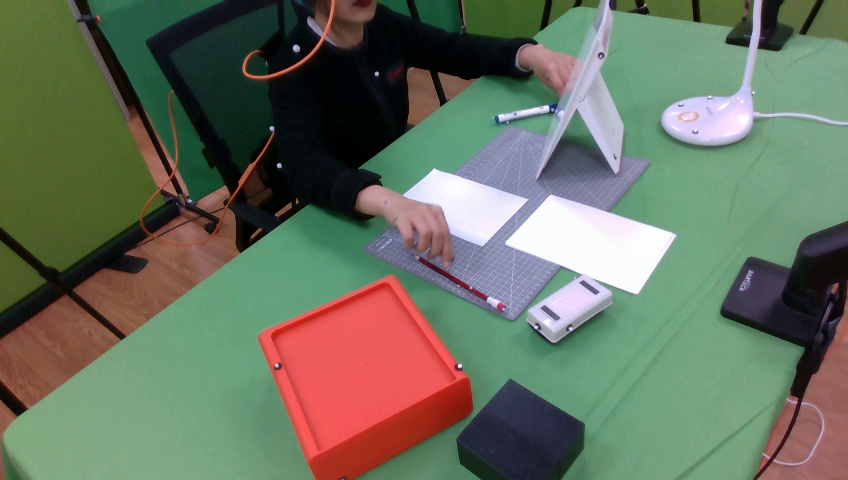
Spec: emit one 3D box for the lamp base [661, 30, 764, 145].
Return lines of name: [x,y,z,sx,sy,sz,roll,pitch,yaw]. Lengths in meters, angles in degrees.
lamp base: [0.535,-0.287,1.096,0.179,0.181,0.159,-10,40,-4]

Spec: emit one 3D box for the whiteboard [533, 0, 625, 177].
whiteboard: [0.321,-0.258,1.049,0.144,0.306,0.217,20,45,4]

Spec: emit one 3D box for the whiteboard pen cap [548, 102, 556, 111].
whiteboard pen cap: [0.273,-0.279,1.259,0.033,0.018,0.018,-10,40,-6]

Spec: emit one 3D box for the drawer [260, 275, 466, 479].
drawer: [-0.080,0.162,0.759,0.195,0.073,0.210,-22,42,-16]

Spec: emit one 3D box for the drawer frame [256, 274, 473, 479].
drawer frame: [-0.078,0.163,0.756,0.202,0.083,0.211,-23,43,-17]

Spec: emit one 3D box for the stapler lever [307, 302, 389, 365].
stapler lever: [-0.101,0.121,0.799,0.118,0.040,0.026,-25,29,-17]

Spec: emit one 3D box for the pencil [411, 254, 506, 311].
pencil: [0.047,0.060,0.906,0.012,0.012,0.192,-37,46,-29]

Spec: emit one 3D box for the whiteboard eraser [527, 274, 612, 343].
whiteboard eraser: [0.198,0.094,0.820,0.113,0.042,0.055,-30,43,-22]

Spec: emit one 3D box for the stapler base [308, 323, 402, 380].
stapler base: [-0.094,0.142,0.812,0.131,0.024,0.041,-25,29,-17]

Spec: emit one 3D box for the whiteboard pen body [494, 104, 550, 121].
whiteboard pen body: [0.216,-0.267,1.256,0.141,0.017,0.017,-12,40,-5]
